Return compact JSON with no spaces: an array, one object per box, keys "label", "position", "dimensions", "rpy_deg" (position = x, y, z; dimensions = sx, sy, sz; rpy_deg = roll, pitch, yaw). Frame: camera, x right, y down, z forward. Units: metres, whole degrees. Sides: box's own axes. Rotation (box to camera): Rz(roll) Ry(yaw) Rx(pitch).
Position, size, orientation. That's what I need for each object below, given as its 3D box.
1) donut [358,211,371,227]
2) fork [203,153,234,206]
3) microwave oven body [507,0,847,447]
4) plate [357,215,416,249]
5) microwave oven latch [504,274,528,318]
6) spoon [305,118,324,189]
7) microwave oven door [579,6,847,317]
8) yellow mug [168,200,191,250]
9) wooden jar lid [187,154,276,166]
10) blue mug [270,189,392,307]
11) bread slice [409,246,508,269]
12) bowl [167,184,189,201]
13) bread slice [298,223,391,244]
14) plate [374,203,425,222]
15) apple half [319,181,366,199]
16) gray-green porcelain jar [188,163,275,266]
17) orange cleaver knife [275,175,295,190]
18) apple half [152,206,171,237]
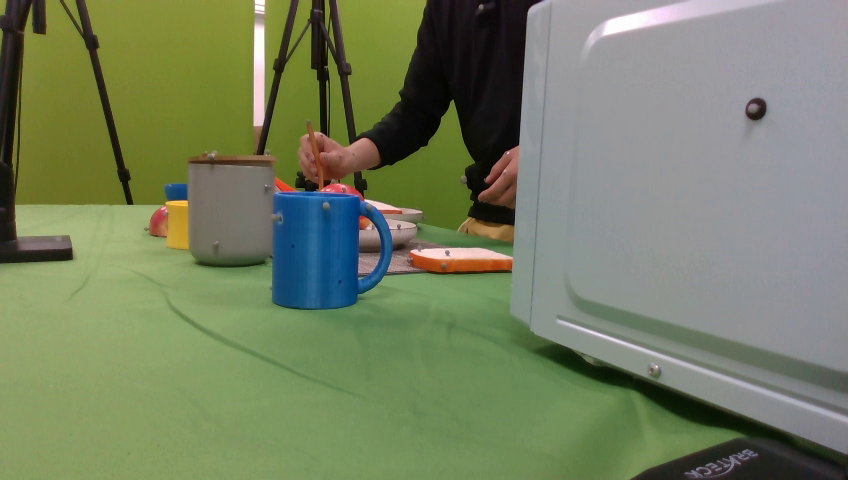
[{"label":"donut","position":[-0.132,-0.041,0.959],"dimensions":[0.099,0.048,0.099],"rpy_deg":[3,8,0]},{"label":"fork","position":[-0.480,-0.136,1.412],"dimensions":[0.028,0.018,0.207],"rpy_deg":[0,-34,-1]},{"label":"microwave oven body","position":[0.331,-0.042,0.425],"dimensions":[0.444,0.260,0.324],"rpy_deg":[-2,8,-31]},{"label":"plate","position":[-0.116,-0.014,0.967],"dimensions":[0.208,0.039,0.207],"rpy_deg":[2,8,0]},{"label":"microwave oven latch","position":[0.100,0.041,0.470],"dimensions":[0.079,0.029,0.030],"rpy_deg":[-1,7,-27]},{"label":"spoon","position":[-0.174,-0.105,1.003],"dimensions":[0.021,0.193,0.041],"rpy_deg":[-6,8,3]},{"label":"microwave oven door","position":[0.294,-0.067,0.570],"dimensions":[0.358,0.243,0.039],"rpy_deg":[-3,9,-31]},{"label":"yellow mug","position":[-0.320,-0.022,0.904],"dimensions":[0.130,0.064,0.100],"rpy_deg":[8,10,36]},{"label":"wooden jar lid","position":[-0.244,-0.097,0.771],"dimensions":[0.108,0.020,0.108],"rpy_deg":[-1,7,0]},{"label":"blue mug","position":[-0.089,0.005,0.588],"dimensions":[0.117,0.106,0.082],"rpy_deg":[1,7,-10]},{"label":"bread slice","position":[0.048,0.022,0.816],"dimensions":[0.132,0.019,0.104],"rpy_deg":[0,7,-24]},{"label":"bowl","position":[-0.408,-0.064,1.154],"dimensions":[0.151,0.077,0.151],"rpy_deg":[2,8,0]},{"label":"bread slice","position":[-0.121,-0.013,0.972],"dimensions":[0.106,0.018,0.135],"rpy_deg":[10,12,42]},{"label":"plate","position":[-0.102,-0.053,1.299],"dimensions":[0.209,0.038,0.209],"rpy_deg":[2,8,0]},{"label":"apple half","position":[-0.130,-0.077,0.952],"dimensions":[0.081,0.033,0.081],"rpy_deg":[2,14,0]},{"label":"gray-green porcelain jar","position":[-0.246,-0.034,0.780],"dimensions":[0.106,0.126,0.106],"rpy_deg":[2,7,0]},{"label":"orange cleaver knife","position":[-0.283,-0.087,1.343],"dimensions":[0.212,0.077,0.012],"rpy_deg":[24,-16,-41]},{"label":"apple half","position":[-0.415,-0.034,1.017],"dimensions":[0.081,0.053,0.074],"rpy_deg":[1,10,-8]}]
